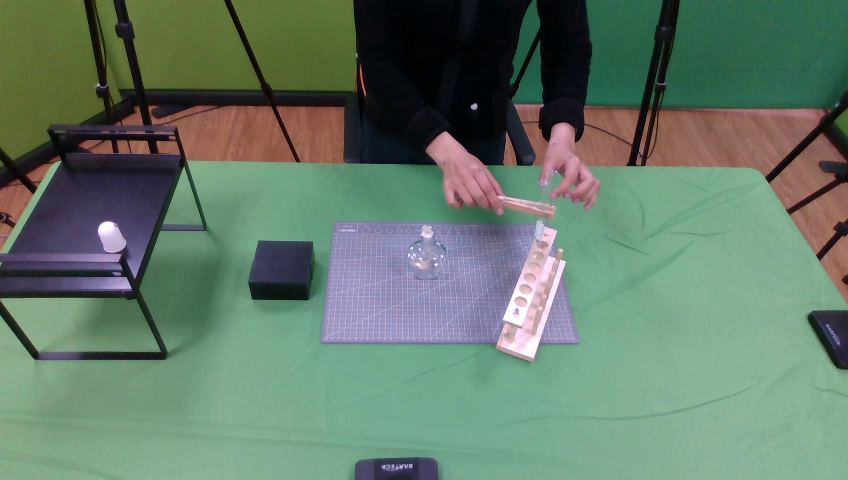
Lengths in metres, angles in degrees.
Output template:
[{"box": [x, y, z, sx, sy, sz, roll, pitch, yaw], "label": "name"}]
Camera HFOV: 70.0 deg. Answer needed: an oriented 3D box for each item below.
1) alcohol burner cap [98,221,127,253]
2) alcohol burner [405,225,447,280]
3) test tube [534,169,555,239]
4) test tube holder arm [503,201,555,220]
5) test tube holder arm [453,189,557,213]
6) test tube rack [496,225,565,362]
[{"box": [-0.468, -0.007, 0.905, 0.034, 0.048, 0.033, 3, 46, -3], "label": "alcohol burner cap"}, {"box": [0.005, 0.017, 1.115, 0.078, 0.120, 0.077, 1, 47, -1], "label": "alcohol burner"}, {"box": [0.200, -0.057, 1.016, 0.017, 0.151, 0.017, 0, 45, 0], "label": "test tube"}, {"box": [0.178, -0.052, 1.024, 0.087, 0.015, 0.010, 17, 50, 16], "label": "test tube holder arm"}, {"box": [0.137, -0.066, 1.037, 0.178, 0.015, 0.013, 11, 48, 10], "label": "test tube holder arm"}, {"box": [0.200, 0.089, 1.081, 0.066, 0.085, 0.241, 19, 48, 13], "label": "test tube rack"}]
